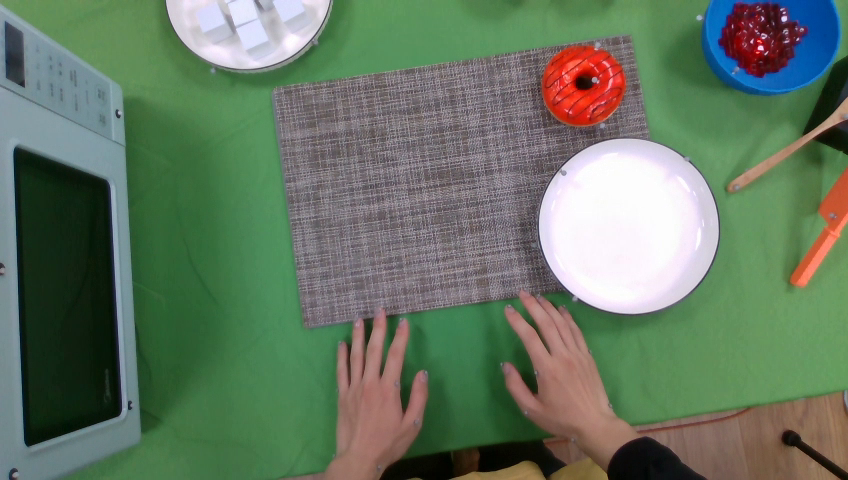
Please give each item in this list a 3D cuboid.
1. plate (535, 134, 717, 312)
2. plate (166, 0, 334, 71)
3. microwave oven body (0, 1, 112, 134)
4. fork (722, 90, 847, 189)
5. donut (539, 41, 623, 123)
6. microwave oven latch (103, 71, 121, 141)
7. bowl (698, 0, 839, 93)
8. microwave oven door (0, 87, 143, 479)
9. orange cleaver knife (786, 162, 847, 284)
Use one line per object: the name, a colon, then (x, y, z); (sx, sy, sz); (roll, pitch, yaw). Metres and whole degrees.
plate: (0.233, -0.019, 0.713); (0.209, 0.038, 0.208); (0, 85, 1)
plate: (-0.212, -0.307, 0.754); (0.207, 0.039, 0.207); (0, 85, 2)
microwave oven body: (-0.517, 0.021, 0.619); (0.326, 0.260, 0.440); (-6, 86, 1)
fork: (0.438, -0.123, 0.696); (0.207, 0.018, 0.028); (-38, 92, 18)
donut: (0.186, -0.189, 0.725); (0.099, 0.048, 0.099); (0, 86, 4)
microwave oven latch: (-0.383, -0.160, 0.727); (0.030, 0.029, 0.079); (-4, 86, 1)
bowl: (0.387, -0.237, 0.711); (0.151, 0.077, 0.151); (0, 86, 2)
microwave oven door: (-0.368, 0.048, 0.608); (0.039, 0.244, 0.355); (-6, 85, 2)
orange cleaver knife: (0.475, -0.046, 0.691); (0.012, 0.077, 0.212); (23, 115, 2)
